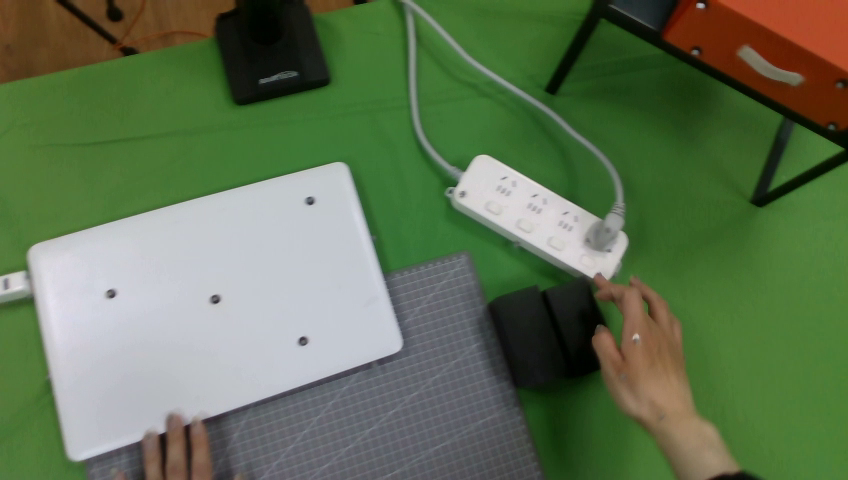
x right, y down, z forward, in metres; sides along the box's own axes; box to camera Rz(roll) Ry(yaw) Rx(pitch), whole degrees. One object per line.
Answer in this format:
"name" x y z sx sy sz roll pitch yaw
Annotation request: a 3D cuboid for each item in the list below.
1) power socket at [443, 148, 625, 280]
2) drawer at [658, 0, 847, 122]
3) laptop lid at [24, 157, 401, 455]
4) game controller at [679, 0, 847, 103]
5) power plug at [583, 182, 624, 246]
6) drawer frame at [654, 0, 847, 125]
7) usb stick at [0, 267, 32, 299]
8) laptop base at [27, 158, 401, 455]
"power socket" 0.133 -0.031 0.719 0.226 0.033 0.072 30 75 2
"drawer" 0.362 -0.251 0.588 0.194 0.073 0.211 28 74 2
"laptop lid" -0.225 0.060 0.654 0.357 0.013 0.240 -16 80 -10
"game controller" 0.341 -0.211 0.590 0.155 0.052 0.097 31 79 5
"power plug" 0.214 -0.024 0.702 0.035 0.053 0.072 39 74 5
"drawer frame" 0.361 -0.254 0.587 0.201 0.083 0.213 28 74 2
"usb stick" -0.432 0.045 0.636 0.059 0.027 0.021 -14 72 -13
"laptop base" -0.226 0.061 0.666 0.355 0.023 0.234 -18 81 -10
